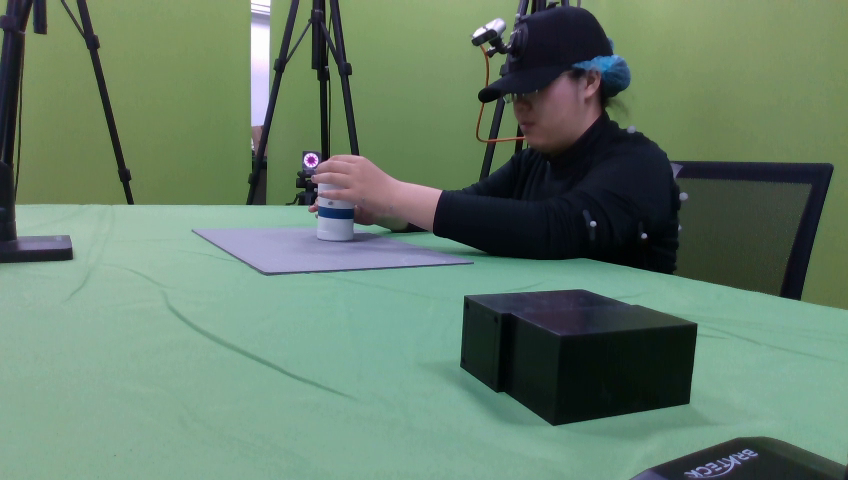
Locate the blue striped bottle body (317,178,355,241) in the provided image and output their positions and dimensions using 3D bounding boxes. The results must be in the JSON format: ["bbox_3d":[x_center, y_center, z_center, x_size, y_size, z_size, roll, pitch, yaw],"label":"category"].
[{"bbox_3d":[-0.149,-0.061,1.024,0.063,0.120,0.063,2,8,0],"label":"blue striped bottle body"}]

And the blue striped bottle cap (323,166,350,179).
[{"bbox_3d":[-0.147,-0.113,1.016,0.044,0.020,0.044,5,5,0],"label":"blue striped bottle cap"}]
